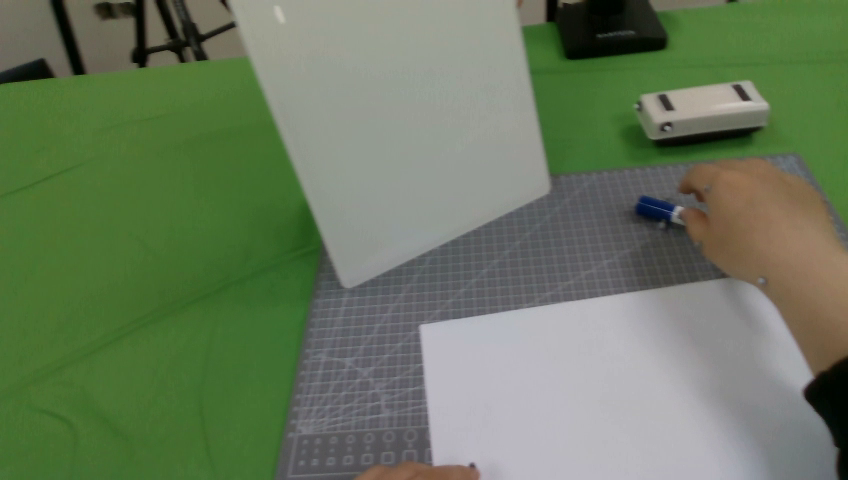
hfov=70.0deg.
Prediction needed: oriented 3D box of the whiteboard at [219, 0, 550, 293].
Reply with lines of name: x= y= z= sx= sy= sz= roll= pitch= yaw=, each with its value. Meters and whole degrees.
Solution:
whiteboard: x=-0.044 y=-0.151 z=0.533 sx=0.217 sy=0.308 sz=0.142 roll=-26 pitch=28 yaw=-14

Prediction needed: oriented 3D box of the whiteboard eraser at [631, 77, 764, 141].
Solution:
whiteboard eraser: x=0.268 y=-0.127 z=0.600 sx=0.112 sy=0.042 sz=0.055 roll=-7 pitch=48 yaw=2

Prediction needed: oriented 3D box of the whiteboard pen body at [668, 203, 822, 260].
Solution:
whiteboard pen body: x=0.249 y=-0.011 z=0.501 sx=0.140 sy=0.017 sz=0.017 roll=20 pitch=53 yaw=27

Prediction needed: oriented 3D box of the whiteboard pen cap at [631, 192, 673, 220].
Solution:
whiteboard pen cap: x=0.200 y=-0.029 z=0.528 sx=0.033 sy=0.018 sz=0.018 roll=23 pitch=54 yaw=29
